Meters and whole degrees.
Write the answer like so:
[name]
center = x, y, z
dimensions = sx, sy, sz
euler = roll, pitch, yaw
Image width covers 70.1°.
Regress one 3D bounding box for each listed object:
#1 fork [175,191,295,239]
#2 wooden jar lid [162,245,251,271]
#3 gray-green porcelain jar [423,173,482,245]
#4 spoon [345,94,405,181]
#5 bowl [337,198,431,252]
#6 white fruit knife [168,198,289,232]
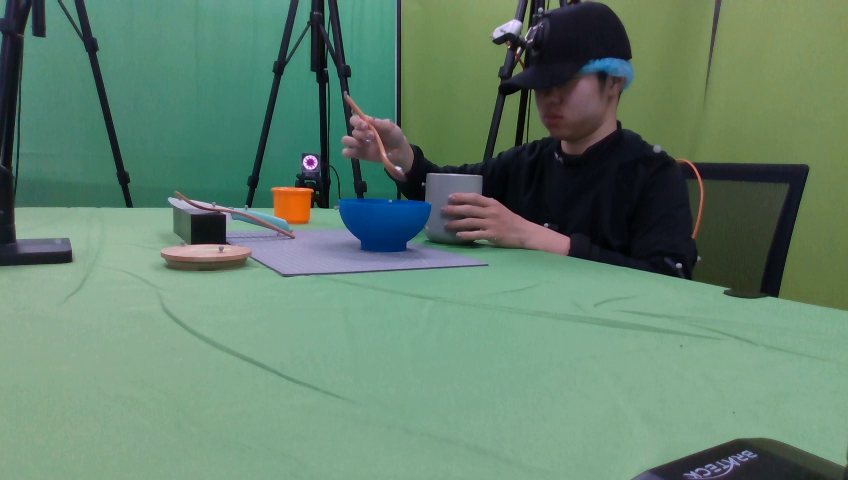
[fork]
center = -0.305, -0.039, 0.993
dimensions = 0.208, 0.018, 0.028
euler = 19, -9, -34
[wooden jar lid]
center = -0.278, 0.022, 0.777
dimensions = 0.108, 0.020, 0.108
euler = 2, 6, 0
[gray-green porcelain jar]
center = 0.051, -0.058, 1.115
dimensions = 0.106, 0.126, 0.106
euler = 3, 8, 0
[spoon]
center = -0.085, -0.174, 1.015
dimensions = 0.021, 0.193, 0.042
euler = -29, -19, -1
[bowl]
center = -0.065, -0.024, 0.967
dimensions = 0.151, 0.077, 0.151
euler = 3, 7, 0
[white fruit knife]
center = -0.329, -0.044, 1.036
dimensions = 0.208, 0.027, 0.016
euler = 14, -2, -32
